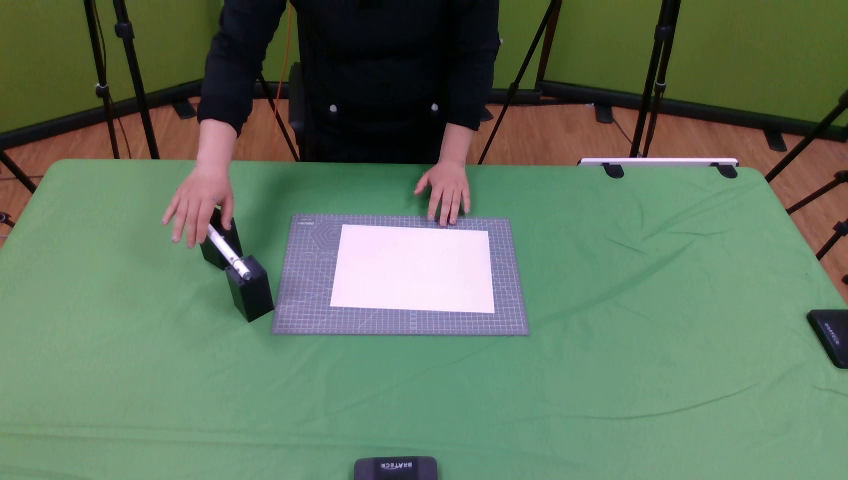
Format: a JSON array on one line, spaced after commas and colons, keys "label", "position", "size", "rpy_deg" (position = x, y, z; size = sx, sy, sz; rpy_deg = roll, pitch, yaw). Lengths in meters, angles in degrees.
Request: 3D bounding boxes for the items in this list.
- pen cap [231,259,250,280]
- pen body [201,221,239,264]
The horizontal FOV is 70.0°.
[{"label": "pen cap", "position": [-0.299, 0.048, 0.991], "size": [0.017, 0.017, 0.038], "rpy_deg": [-29, 55, -29]}, {"label": "pen body", "position": [-0.339, 0.012, 1.025], "size": [0.017, 0.017, 0.143], "rpy_deg": [-29, 53, -28]}]
